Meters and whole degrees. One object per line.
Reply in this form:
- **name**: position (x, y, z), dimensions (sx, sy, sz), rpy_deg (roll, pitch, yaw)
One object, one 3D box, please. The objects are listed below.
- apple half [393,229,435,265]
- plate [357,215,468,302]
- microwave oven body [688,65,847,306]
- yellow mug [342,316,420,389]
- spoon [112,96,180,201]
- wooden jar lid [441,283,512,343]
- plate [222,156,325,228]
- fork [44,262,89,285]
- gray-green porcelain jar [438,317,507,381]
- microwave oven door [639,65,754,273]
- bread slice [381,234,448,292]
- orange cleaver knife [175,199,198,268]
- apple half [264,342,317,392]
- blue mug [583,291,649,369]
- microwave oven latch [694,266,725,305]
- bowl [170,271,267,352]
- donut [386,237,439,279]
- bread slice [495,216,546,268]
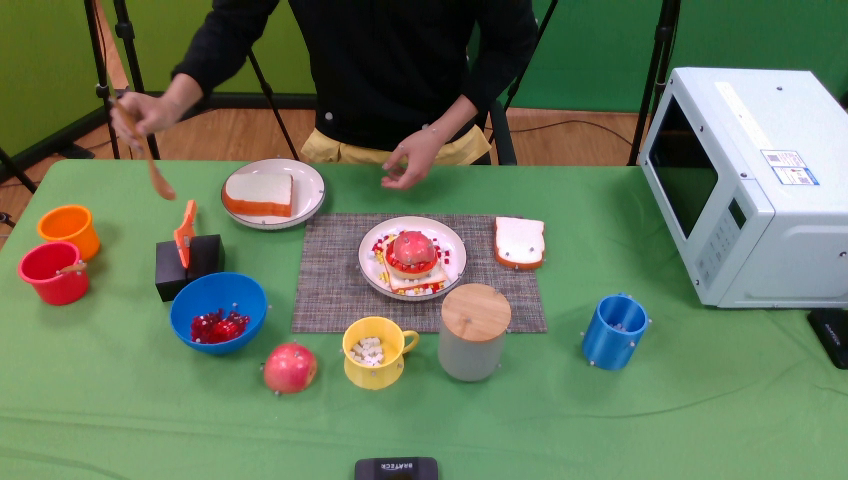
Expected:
- **apple half**: position (-0.018, 0.005, 1.084), dimensions (0.081, 0.033, 0.081), rpy_deg (6, 49, -7)
- **plate**: position (-0.022, 0.037, 1.141), dimensions (0.208, 0.039, 0.206), rpy_deg (2, 46, -2)
- **microwave oven body**: position (0.669, -0.111, 1.176), dimensions (0.326, 0.261, 0.439), rpy_deg (0, 46, -3)
- **yellow mug**: position (-0.067, 0.178, 0.990), dimensions (0.131, 0.064, 0.099), rpy_deg (-16, 50, -19)
- **spoon**: position (-0.441, -0.143, 0.967), dimensions (0.021, 0.195, 0.041), rpy_deg (-12, 37, 1)
- **wooden jar lid**: position (0.080, 0.114, 0.931), dimensions (0.108, 0.021, 0.107), rpy_deg (1, 49, -1)
- **plate**: position (-0.308, -0.095, 1.251), dimensions (0.209, 0.038, 0.208), rpy_deg (3, 46, -2)
- **fork**: position (-0.598, 0.054, 1.014), dimensions (0.207, 0.019, 0.028), rpy_deg (-15, 28, 45)
- **gray-green porcelain jar**: position (0.076, 0.158, 0.977), dimensions (0.106, 0.127, 0.105), rpy_deg (2, 47, -2)
- **microwave oven door**: position (0.522, -0.147, 1.192), dimensions (0.039, 0.245, 0.353), rpy_deg (0, 47, -3)
- **bread slice**: position (-0.027, 0.039, 1.141), dimensions (0.107, 0.018, 0.133), rpy_deg (-11, 49, -16)
- **orange cleaver knife**: position (-0.438, -0.017, 1.138), dimensions (0.012, 0.077, 0.210), rpy_deg (-14, 27, -6)
- **apple half**: position (-0.214, 0.198, 0.970), dimensions (0.074, 0.053, 0.080), rpy_deg (19, 48, 11)
- **blue mug**: position (0.324, 0.142, 1.023), dimensions (0.082, 0.106, 0.116), rpy_deg (15, 47, 11)
- **microwave oven latch**: position (0.523, 0.082, 1.115), dimensions (0.030, 0.029, 0.078), rpy_deg (3, 46, 0)
- **bowl**: position (-0.333, 0.132, 1.006), dimensions (0.151, 0.077, 0.150), rpy_deg (2, 46, -2)
- **donut**: position (-0.021, 0.028, 1.111), dimensions (0.099, 0.048, 0.098), rpy_deg (3, 46, -3)
- **bread slice**: position (0.194, 0.002, 1.205), dimensions (0.105, 0.019, 0.131), rpy_deg (5, 45, 2)
